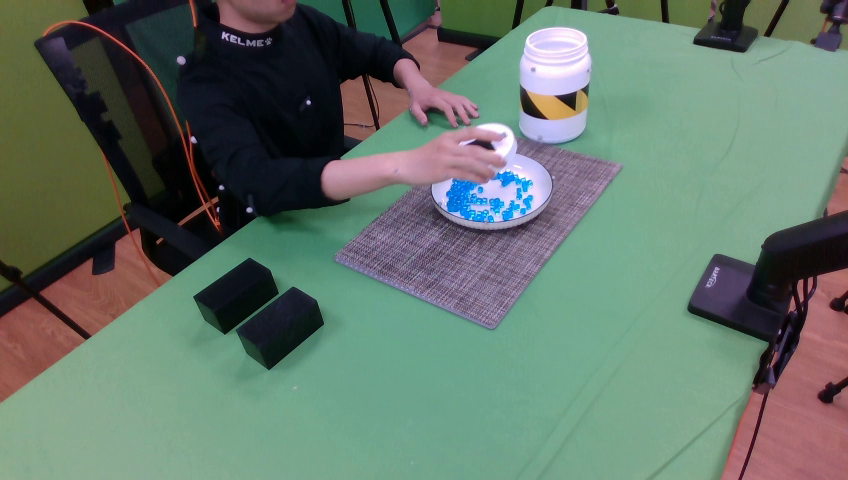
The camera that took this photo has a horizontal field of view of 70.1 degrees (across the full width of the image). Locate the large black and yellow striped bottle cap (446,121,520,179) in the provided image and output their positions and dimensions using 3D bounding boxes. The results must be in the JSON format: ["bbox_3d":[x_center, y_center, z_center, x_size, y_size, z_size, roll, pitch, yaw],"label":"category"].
[{"bbox_3d":[0.090,-0.140,0.929,0.114,0.019,0.114,-16,43,16],"label":"large black and yellow striped bottle cap"}]

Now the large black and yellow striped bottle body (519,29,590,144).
[{"bbox_3d":[0.246,-0.291,1.149,0.131,0.185,0.130,-4,41,4],"label":"large black and yellow striped bottle body"}]

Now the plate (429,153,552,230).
[{"bbox_3d":[0.113,-0.082,1.032,0.207,0.039,0.206,-4,41,4],"label":"plate"}]
